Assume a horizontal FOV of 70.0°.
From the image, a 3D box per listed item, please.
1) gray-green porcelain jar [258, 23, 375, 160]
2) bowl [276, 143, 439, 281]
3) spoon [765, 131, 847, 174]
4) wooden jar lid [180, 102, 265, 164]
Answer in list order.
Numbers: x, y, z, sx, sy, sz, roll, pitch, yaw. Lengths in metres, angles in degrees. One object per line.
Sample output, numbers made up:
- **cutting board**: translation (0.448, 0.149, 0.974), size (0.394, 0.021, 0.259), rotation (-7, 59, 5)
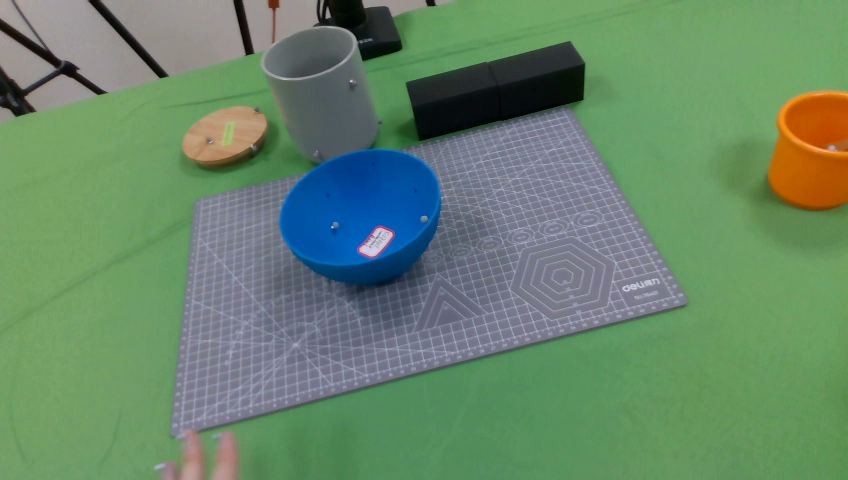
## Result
- **gray-green porcelain jar**: translation (-0.116, -0.163, 0.690), size (0.106, 0.128, 0.105), rotation (-6, 48, 7)
- **bowl**: translation (-0.055, -0.014, 0.575), size (0.151, 0.077, 0.150), rotation (-6, 48, 7)
- **spoon**: translation (0.386, -0.097, 0.512), size (0.022, 0.193, 0.041), rotation (42, 58, -12)
- **wooden jar lid**: translation (-0.252, -0.133, 0.764), size (0.108, 0.021, 0.107), rotation (-4, 49, 5)
